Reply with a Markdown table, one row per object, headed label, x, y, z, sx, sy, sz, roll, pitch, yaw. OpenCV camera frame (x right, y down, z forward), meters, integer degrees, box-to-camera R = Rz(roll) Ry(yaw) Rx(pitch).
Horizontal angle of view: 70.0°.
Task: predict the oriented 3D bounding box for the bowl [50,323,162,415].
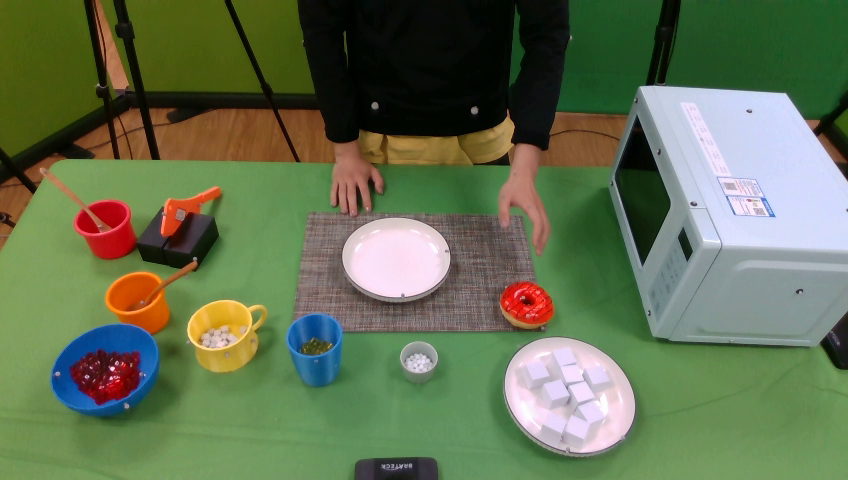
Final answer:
| label | x | y | z | sx | sy | sz | roll | pitch | yaw |
| --- | --- | --- | --- | --- | --- | --- | --- | --- | --- |
| bowl | -0.472 | 0.209 | 0.924 | 0.151 | 0.077 | 0.150 | 3 | 45 | -2 |

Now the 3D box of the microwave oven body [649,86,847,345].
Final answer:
| label | x | y | z | sx | sy | sz | roll | pitch | yaw |
| --- | --- | --- | --- | --- | --- | --- | --- | --- | --- |
| microwave oven body | 0.568 | -0.053 | 1.118 | 0.326 | 0.261 | 0.439 | 2 | 45 | -1 |

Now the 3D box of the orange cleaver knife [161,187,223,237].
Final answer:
| label | x | y | z | sx | sy | sz | roll | pitch | yaw |
| --- | --- | --- | --- | --- | --- | --- | --- | --- | --- |
| orange cleaver knife | -0.448 | -0.058 | 1.181 | 0.012 | 0.077 | 0.211 | 13 | 17 | 6 |

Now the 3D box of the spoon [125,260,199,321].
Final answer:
| label | x | y | z | sx | sy | sz | roll | pitch | yaw |
| --- | --- | --- | --- | --- | --- | --- | --- | --- | --- |
| spoon | -0.434 | 0.083 | 0.999 | 0.022 | 0.194 | 0.041 | 35 | 34 | -35 |

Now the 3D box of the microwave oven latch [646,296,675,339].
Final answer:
| label | x | y | z | sx | sy | sz | roll | pitch | yaw |
| --- | --- | --- | --- | --- | --- | --- | --- | --- | --- |
| microwave oven latch | 0.412 | 0.134 | 1.061 | 0.030 | 0.029 | 0.078 | 4 | 45 | 1 |

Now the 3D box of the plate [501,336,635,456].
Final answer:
| label | x | y | z | sx | sy | sz | roll | pitch | yaw |
| --- | --- | --- | --- | --- | --- | --- | --- | --- | --- |
| plate | 0.225 | 0.248 | 0.963 | 0.208 | 0.039 | 0.206 | 2 | 46 | -2 |

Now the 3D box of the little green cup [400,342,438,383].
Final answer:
| label | x | y | z | sx | sy | sz | roll | pitch | yaw |
| --- | --- | --- | --- | --- | --- | --- | --- | --- | --- |
| little green cup | -0.010 | 0.202 | 0.991 | 0.061 | 0.039 | 0.061 | 2 | 47 | -2 |

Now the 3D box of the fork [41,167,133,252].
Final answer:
| label | x | y | z | sx | sy | sz | roll | pitch | yaw |
| --- | --- | --- | --- | --- | --- | --- | --- | --- | --- |
| fork | -0.624 | -0.055 | 1.121 | 0.208 | 0.018 | 0.028 | 49 | 52 | -15 |

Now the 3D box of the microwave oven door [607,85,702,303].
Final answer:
| label | x | y | z | sx | sy | sz | roll | pitch | yaw |
| --- | --- | --- | --- | --- | --- | --- | --- | --- | --- |
| microwave oven door | 0.423 | -0.094 | 1.141 | 0.039 | 0.245 | 0.353 | 2 | 46 | -1 |

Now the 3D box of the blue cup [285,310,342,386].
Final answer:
| label | x | y | z | sx | sy | sz | roll | pitch | yaw |
| --- | --- | --- | --- | --- | --- | --- | --- | --- | --- |
| blue cup | -0.170 | 0.179 | 0.958 | 0.093 | 0.101 | 0.092 | 2 | 44 | -1 |

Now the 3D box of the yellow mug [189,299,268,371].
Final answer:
| label | x | y | z | sx | sy | sz | roll | pitch | yaw |
| --- | --- | --- | --- | --- | --- | --- | --- | --- | --- |
| yellow mug | -0.316 | 0.148 | 1.002 | 0.131 | 0.064 | 0.099 | -33 | 56 | -31 |

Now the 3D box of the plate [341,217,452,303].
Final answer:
| label | x | y | z | sx | sy | sz | roll | pitch | yaw |
| --- | --- | --- | --- | --- | --- | --- | --- | --- | --- |
| plate | -0.052 | 0.040 | 1.140 | 0.209 | 0.038 | 0.208 | 2 | 46 | -2 |

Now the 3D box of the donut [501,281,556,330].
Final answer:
| label | x | y | z | sx | sy | sz | roll | pitch | yaw |
| --- | --- | --- | --- | --- | --- | --- | --- | --- | --- |
| donut | 0.185 | 0.116 | 1.079 | 0.099 | 0.048 | 0.098 | 3 | 45 | -3 |
